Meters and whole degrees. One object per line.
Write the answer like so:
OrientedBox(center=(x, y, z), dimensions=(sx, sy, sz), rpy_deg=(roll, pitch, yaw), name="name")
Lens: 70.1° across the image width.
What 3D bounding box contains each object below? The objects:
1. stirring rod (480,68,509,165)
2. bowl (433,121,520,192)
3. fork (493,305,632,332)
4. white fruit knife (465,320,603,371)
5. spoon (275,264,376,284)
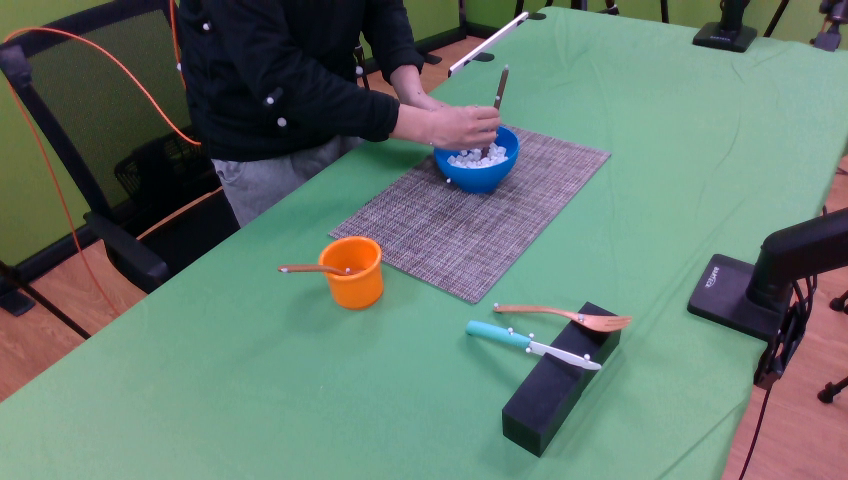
OrientedBox(center=(0.121, -0.210, 1.046), dimensions=(0.006, 0.176, 0.014), rpy_deg=(30, 35, 28), name="stirring rod")
OrientedBox(center=(0.094, -0.137, 1.064), dimensions=(0.151, 0.077, 0.150), rpy_deg=(-4, 41, 4), name="bowl")
OrientedBox(center=(0.171, 0.097, 0.783), dimensions=(0.205, 0.019, 0.028), rpy_deg=(4, 40, 43), name="fork")
OrientedBox(center=(0.128, 0.129, 0.749), dimensions=(0.205, 0.027, 0.016), rpy_deg=(10, 45, 43), name="white fruit knife")
OrientedBox(center=(-0.133, 0.044, 0.839), dimensions=(0.041, 0.195, 0.021), rpy_deg=(24, 95, 33), name="spoon")
